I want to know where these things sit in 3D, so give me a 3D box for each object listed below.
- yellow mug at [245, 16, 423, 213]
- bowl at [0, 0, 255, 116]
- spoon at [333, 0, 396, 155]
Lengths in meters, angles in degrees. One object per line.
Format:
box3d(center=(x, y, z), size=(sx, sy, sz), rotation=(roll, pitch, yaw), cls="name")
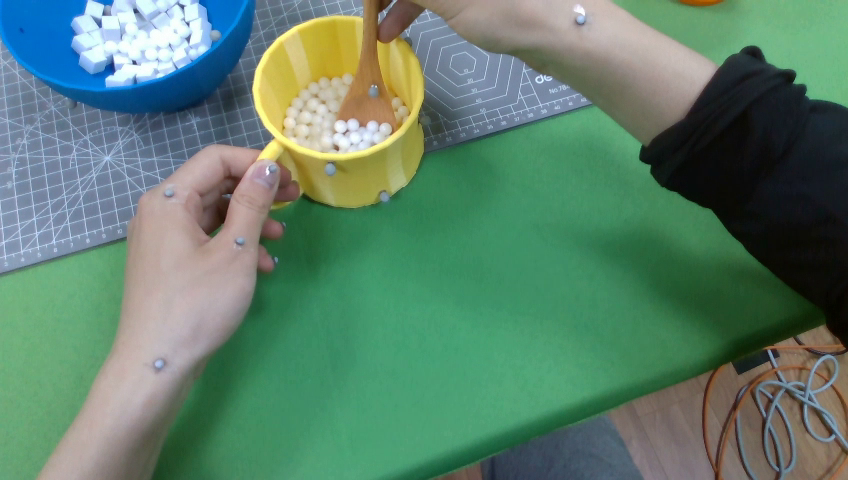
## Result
box3d(center=(-0.060, -0.067, 0.375), size=(0.099, 0.064, 0.130), rotation=(37, 74, 13), cls="yellow mug")
box3d(center=(-0.178, -0.135, 0.393), size=(0.151, 0.077, 0.150), rotation=(1, 69, -1), cls="bowl")
box3d(center=(-0.030, -0.126, 0.345), size=(0.041, 0.195, 0.021), rotation=(9, 35, 3), cls="spoon")
